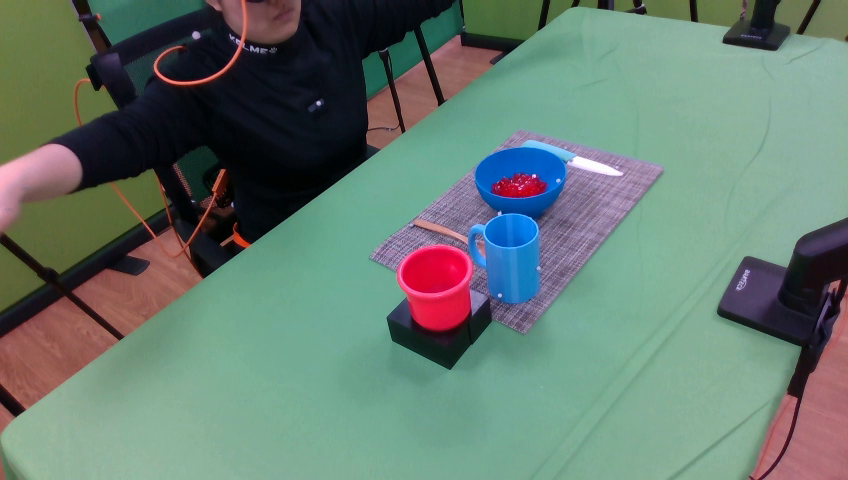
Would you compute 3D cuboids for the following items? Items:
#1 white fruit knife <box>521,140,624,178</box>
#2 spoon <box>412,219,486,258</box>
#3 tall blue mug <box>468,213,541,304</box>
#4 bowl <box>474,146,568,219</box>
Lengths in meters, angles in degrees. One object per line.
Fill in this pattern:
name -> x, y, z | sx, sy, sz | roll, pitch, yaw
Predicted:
white fruit knife -> 0.270, -0.149, 1.110 | 0.206, 0.016, 0.027 | 25, 80, 32
spoon -> 0.054, -0.005, 0.971 | 0.192, 0.022, 0.041 | 25, 68, 33
tall blue mug -> 0.111, 0.026, 0.856 | 0.107, 0.108, 0.077 | 2, 42, 13
bowl -> 0.161, -0.083, 1.000 | 0.151, 0.077, 0.150 | -5, 40, 5
